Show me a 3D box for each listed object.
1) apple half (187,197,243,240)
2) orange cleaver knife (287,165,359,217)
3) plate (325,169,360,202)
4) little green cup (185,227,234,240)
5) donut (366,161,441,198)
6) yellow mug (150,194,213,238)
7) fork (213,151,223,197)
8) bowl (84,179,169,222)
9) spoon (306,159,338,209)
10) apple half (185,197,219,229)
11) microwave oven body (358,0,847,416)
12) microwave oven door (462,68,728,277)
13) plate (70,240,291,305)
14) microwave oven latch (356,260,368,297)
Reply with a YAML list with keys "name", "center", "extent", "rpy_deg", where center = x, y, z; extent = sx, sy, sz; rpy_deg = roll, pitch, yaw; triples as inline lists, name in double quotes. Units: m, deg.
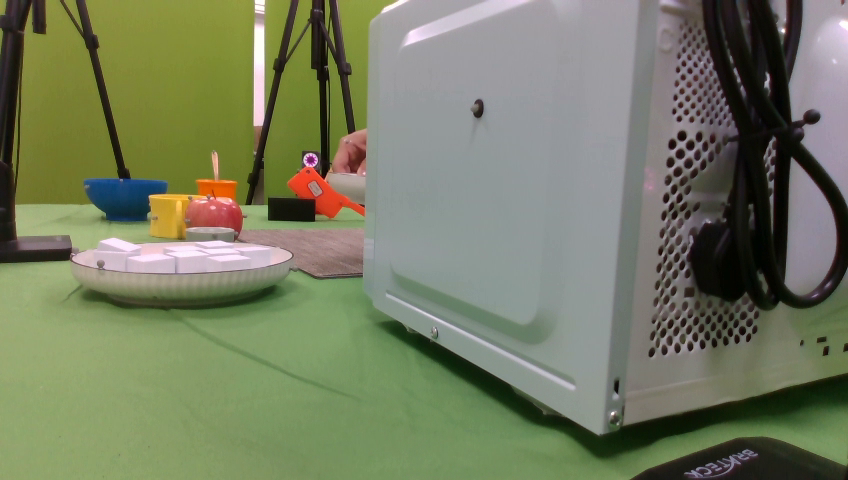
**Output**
- name: "apple half"
  center: [-0.305, -0.026, 0.907]
  extent: [0.053, 0.074, 0.081]
  rpy_deg: [12, 8, 32]
- name: "orange cleaver knife"
  center: [-0.211, -0.093, 1.382]
  extent: [0.212, 0.077, 0.012]
  rpy_deg: [33, 1, -15]
- name: "plate"
  center: [-0.024, -0.065, 0.784]
  extent: [0.209, 0.038, 0.209]
  rpy_deg: [5, 7, 0]
- name: "little green cup"
  center: [-0.285, 0.005, 0.805]
  extent: [0.061, 0.038, 0.061]
  rpy_deg: [2, 8, 0]
- name: "donut"
  center: [-0.026, -0.077, 0.784]
  extent: [0.099, 0.048, 0.099]
  rpy_deg: [7, 6, 0]
- name: "yellow mug"
  center: [-0.401, -0.040, 1.003]
  extent: [0.100, 0.064, 0.130]
  rpy_deg: [-1, 9, -20]
- name: "fork"
  center: [-0.493, -0.143, 1.442]
  extent: [0.028, 0.018, 0.206]
  rpy_deg: [-3, 52, -18]
- name: "bowl"
  center: [-0.584, -0.078, 1.194]
  extent: [0.151, 0.077, 0.151]
  rpy_deg: [3, 8, 0]
- name: "spoon"
  center: [-0.257, -0.146, 1.567]
  extent: [0.041, 0.022, 0.193]
  rpy_deg: [1, 51, 20]
- name: "apple half"
  center: [-0.338, -0.031, 0.927]
  extent: [0.032, 0.081, 0.081]
  rpy_deg: [12, 12, 31]
- name: "microwave oven body"
  center: [0.210, -0.047, 0.475]
  extent: [0.444, 0.260, 0.324]
  rpy_deg: [-1, 7, -28]
- name: "microwave oven door"
  center: [0.205, -0.096, 0.812]
  extent: [0.354, 0.243, 0.039]
  rpy_deg: [9, 10, 41]
- name: "plate"
  center: [-0.242, 0.031, 0.618]
  extent: [0.208, 0.039, 0.207]
  rpy_deg: [2, 8, 0]
- name: "microwave oven latch"
  center: [-0.020, 0.033, 0.531]
  extent: [0.079, 0.029, 0.030]
  rpy_deg: [-1, 7, -27]
